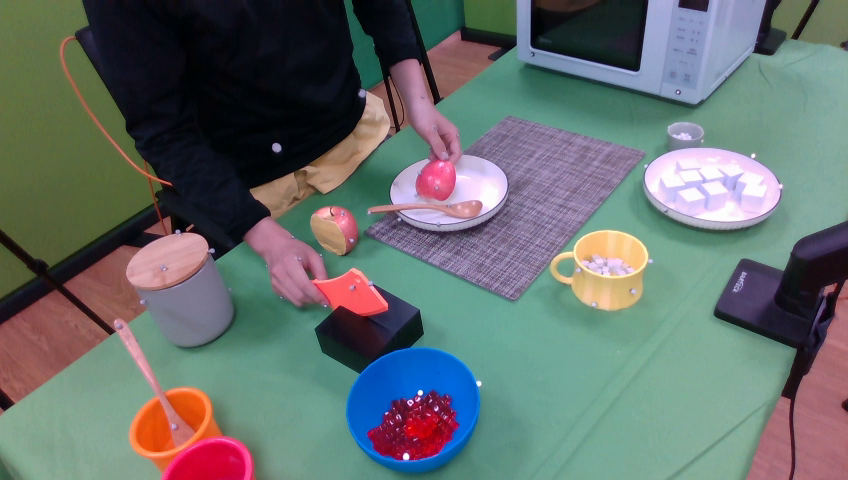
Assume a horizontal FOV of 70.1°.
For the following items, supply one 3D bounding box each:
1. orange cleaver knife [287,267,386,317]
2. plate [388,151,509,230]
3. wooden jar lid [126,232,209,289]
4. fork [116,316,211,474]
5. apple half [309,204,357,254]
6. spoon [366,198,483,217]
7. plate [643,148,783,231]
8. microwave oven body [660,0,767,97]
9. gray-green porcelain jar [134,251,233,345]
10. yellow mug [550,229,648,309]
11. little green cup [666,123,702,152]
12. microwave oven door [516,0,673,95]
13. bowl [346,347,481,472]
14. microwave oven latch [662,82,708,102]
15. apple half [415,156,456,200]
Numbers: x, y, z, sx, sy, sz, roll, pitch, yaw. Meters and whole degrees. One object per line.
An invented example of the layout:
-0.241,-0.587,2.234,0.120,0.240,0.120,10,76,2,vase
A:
-0.123,0.074,0.824,0.210,0.077,0.012,-7,26,50,orange cleaver knife
0.044,-0.082,1.042,0.209,0.038,0.208,-4,40,4,plate
-0.340,0.030,0.808,0.108,0.021,0.108,-5,39,5,wooden jar lid
-0.308,0.179,0.708,0.028,0.018,0.207,-30,89,-14,fork
-0.140,-0.022,0.979,0.080,0.075,0.053,19,44,32,apple half
0.001,-0.056,0.997,0.194,0.022,0.041,1,52,-9,spoon
0.464,-0.079,0.986,0.207,0.039,0.206,-4,41,4,plate
0.473,-0.517,1.314,0.438,0.261,0.327,26,51,34,microwave oven body
-0.334,0.076,0.849,0.106,0.127,0.105,-4,41,4,gray-green porcelain jar
0.245,0.040,0.857,0.130,0.064,0.099,1,42,11,yellow mug
0.472,-0.183,1.102,0.061,0.039,0.061,-5,41,5,little green cup
0.344,-0.458,1.256,0.353,0.245,0.039,26,51,33,microwave oven door
-0.008,0.205,0.691,0.151,0.077,0.150,-4,40,4,bowl
0.517,-0.298,1.203,0.078,0.029,0.030,28,52,35,microwave oven latch
0.013,-0.108,1.016,0.081,0.033,0.081,-8,75,29,apple half
